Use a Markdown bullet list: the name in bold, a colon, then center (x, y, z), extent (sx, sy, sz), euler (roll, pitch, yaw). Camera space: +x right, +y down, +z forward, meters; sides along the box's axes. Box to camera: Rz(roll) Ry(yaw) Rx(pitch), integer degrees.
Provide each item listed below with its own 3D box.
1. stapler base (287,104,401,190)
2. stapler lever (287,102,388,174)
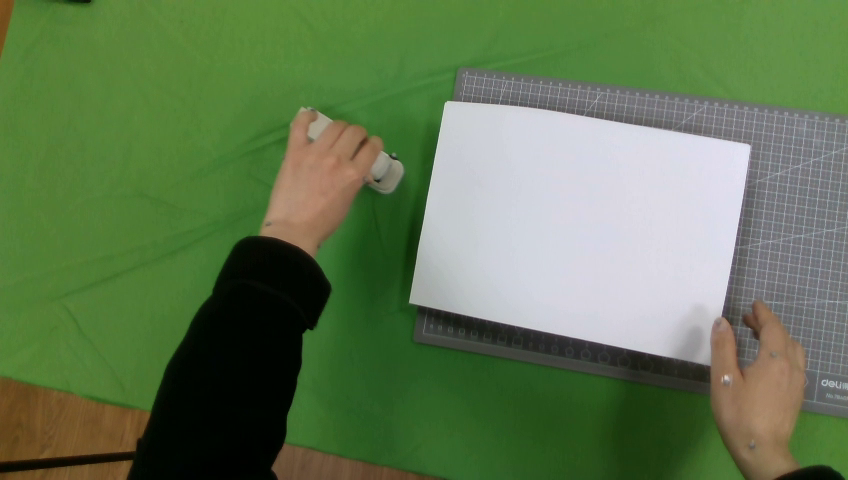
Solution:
- **stapler base**: center (-0.087, -0.102, 0.647), extent (0.130, 0.024, 0.041), euler (32, 84, 8)
- **stapler lever**: center (-0.091, -0.106, 0.623), extent (0.118, 0.040, 0.027), euler (32, 83, 8)
